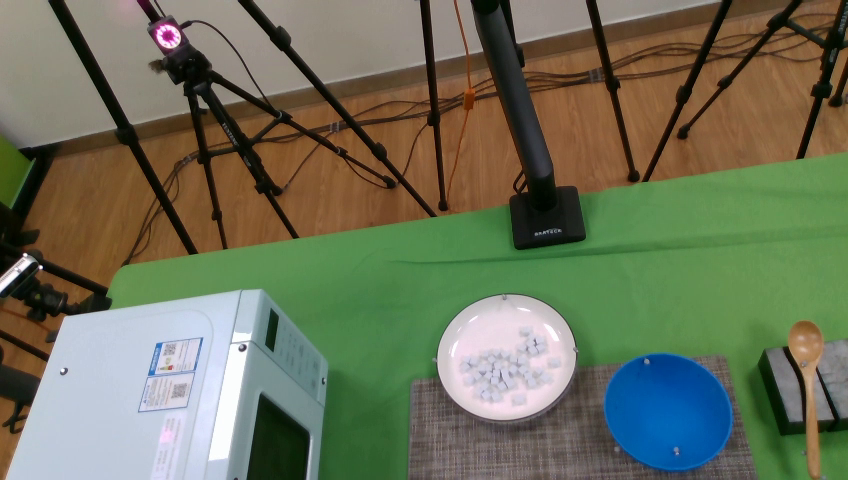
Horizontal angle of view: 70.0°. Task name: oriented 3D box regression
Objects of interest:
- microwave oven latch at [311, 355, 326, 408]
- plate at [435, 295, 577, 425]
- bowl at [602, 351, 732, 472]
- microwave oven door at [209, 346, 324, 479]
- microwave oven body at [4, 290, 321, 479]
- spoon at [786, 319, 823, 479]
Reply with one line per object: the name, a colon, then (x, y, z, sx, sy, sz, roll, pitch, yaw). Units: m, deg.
microwave oven latch: (-0.168, 0.219, 0.940, 0.030, 0.030, 0.078, -9, 54, 10)
plate: (0.122, 0.178, 0.898, 0.209, 0.038, 0.207, -9, 50, 11)
bowl: (0.307, 0.228, 0.777, 0.151, 0.077, 0.150, -8, 53, 12)
microwave oven door: (-0.193, 0.338, 0.733, 0.039, 0.246, 0.352, -10, 53, 11)
microwave oven body: (-0.334, 0.331, 0.788, 0.325, 0.263, 0.437, -9, 54, 10)
spoon: (0.468, 0.189, 0.738, 0.041, 0.022, 0.192, 5, 62, 16)
